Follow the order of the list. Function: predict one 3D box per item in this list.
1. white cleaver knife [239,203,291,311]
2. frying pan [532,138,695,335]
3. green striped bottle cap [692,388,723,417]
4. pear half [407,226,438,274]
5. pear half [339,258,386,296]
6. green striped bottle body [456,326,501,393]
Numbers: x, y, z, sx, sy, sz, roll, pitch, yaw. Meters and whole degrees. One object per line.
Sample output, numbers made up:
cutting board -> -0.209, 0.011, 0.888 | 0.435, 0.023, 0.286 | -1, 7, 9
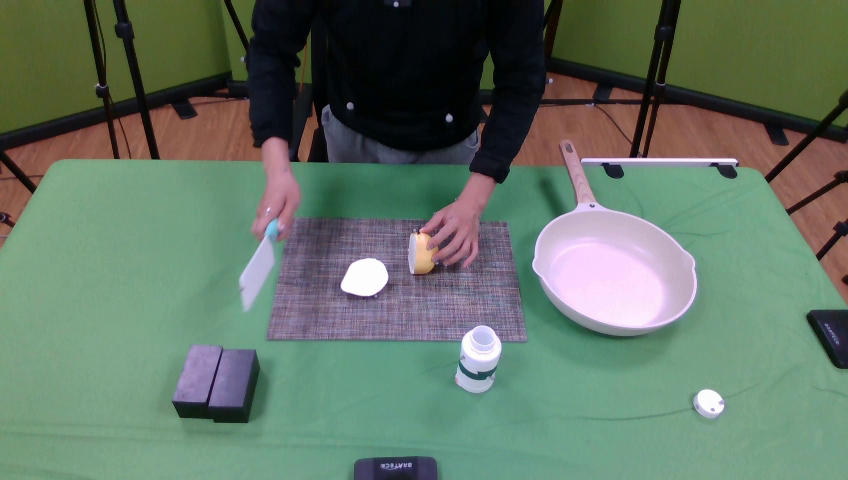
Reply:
white cleaver knife -> -0.261, 0.019, 0.999 | 0.021, 0.066, 0.285 | 0, 28, 3
frying pan -> 0.336, -0.024, 1.190 | 0.307, 0.103, 0.484 | -2, 55, -7
green striped bottle cap -> 0.460, 0.263, 0.984 | 0.044, 0.020, 0.044 | 3, 47, -3
pear half -> -0.001, 0.012, 1.120 | 0.056, 0.110, 0.076 | -8, 51, -13
pear half -> -0.112, 0.072, 1.106 | 0.088, 0.031, 0.070 | -25, 68, -11
green striped bottle body -> 0.086, 0.185, 0.959 | 0.063, 0.120, 0.063 | 2, 46, -2
